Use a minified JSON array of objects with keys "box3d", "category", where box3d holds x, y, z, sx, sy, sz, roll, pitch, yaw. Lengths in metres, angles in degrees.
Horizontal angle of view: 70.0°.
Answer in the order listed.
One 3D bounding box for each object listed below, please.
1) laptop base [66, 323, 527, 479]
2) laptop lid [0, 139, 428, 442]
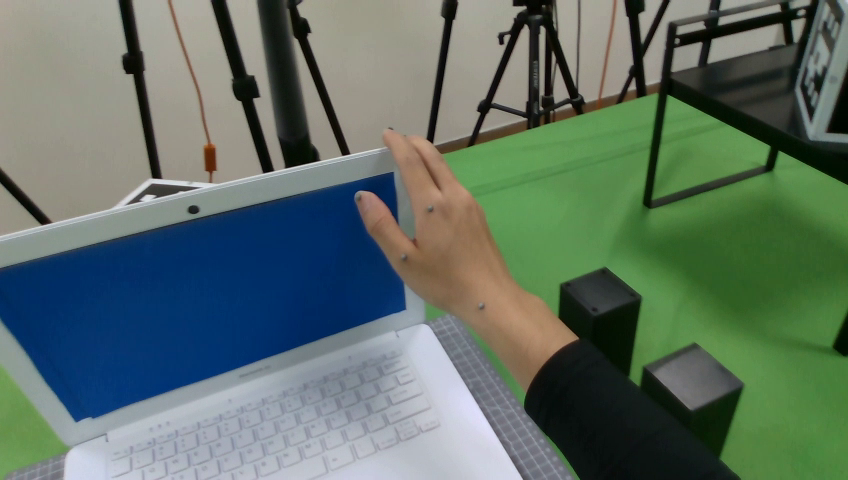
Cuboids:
[{"box3d":[-0.113,0.203,0.509,0.355,0.023,0.232,-18,40,-16],"category":"laptop base"},{"box3d":[-0.166,0.051,0.521,0.357,0.244,0.013,-18,45,-14],"category":"laptop lid"}]
